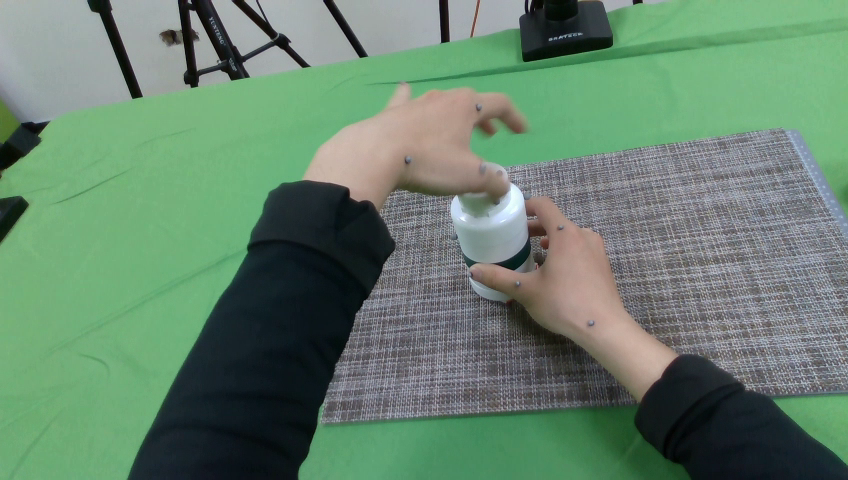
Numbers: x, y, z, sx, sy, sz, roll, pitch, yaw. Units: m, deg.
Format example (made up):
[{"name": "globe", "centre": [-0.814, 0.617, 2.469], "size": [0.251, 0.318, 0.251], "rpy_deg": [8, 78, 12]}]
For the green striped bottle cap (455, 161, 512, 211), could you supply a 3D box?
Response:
[{"name": "green striped bottle cap", "centre": [0.048, -0.044, 0.489], "size": [0.044, 0.020, 0.044], "rpy_deg": [-11, 43, 11]}]

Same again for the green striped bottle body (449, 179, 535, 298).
[{"name": "green striped bottle body", "centre": [0.059, -0.009, 0.527], "size": [0.063, 0.120, 0.062], "rpy_deg": [-10, 45, 10]}]
